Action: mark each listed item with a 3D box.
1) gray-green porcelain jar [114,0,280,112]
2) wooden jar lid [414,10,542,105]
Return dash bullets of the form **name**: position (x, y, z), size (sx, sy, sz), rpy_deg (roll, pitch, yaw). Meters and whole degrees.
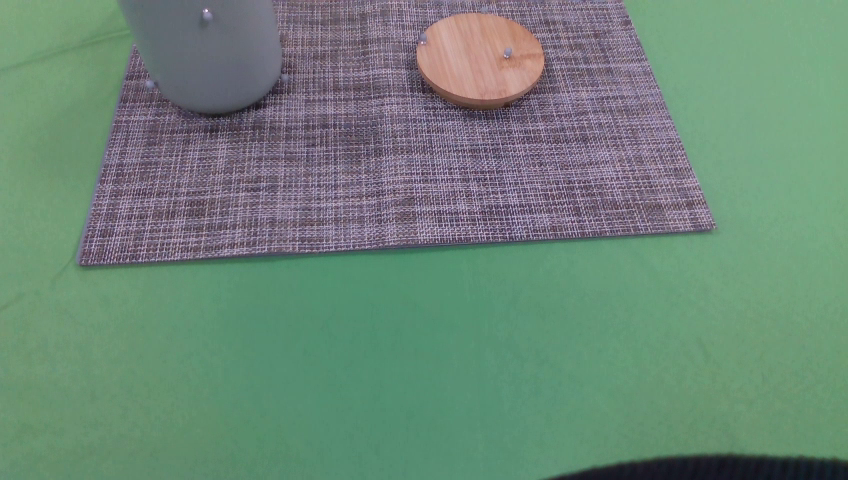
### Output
- **gray-green porcelain jar**: position (-0.167, -0.169, 0.453), size (0.106, 0.127, 0.105), rpy_deg (1, 57, -1)
- **wooden jar lid**: position (0.045, -0.155, 0.517), size (0.108, 0.021, 0.107), rpy_deg (1, 57, -1)
